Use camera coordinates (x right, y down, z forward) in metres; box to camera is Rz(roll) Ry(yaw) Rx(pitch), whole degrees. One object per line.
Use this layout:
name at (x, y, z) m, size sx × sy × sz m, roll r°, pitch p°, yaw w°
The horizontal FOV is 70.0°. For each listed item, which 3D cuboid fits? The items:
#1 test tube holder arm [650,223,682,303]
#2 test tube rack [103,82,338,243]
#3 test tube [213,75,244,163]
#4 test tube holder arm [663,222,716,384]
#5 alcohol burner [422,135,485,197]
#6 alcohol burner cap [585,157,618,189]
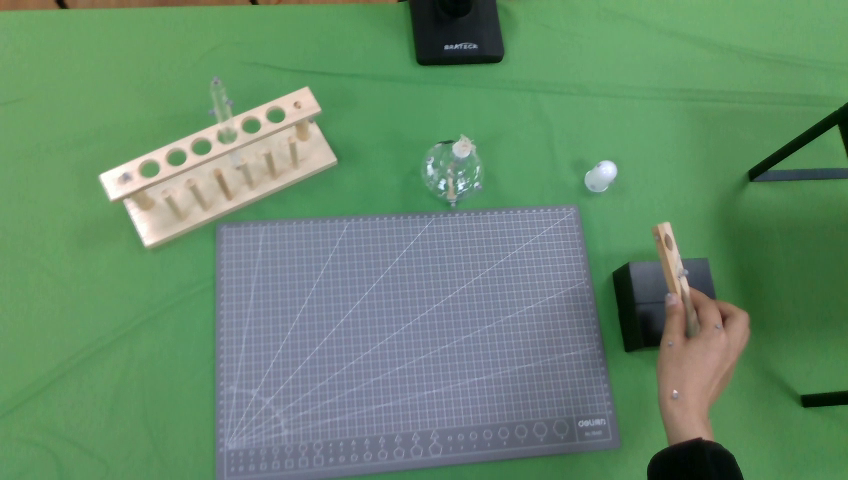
test tube holder arm at (0.265, 0.025, 0.656) m, size 0.010 × 0.015 × 0.087 m, roll -14°, pitch 83°, yaw -7°
test tube rack at (-0.224, -0.089, 0.702) m, size 0.242 × 0.085 × 0.066 m, roll -27°, pitch 77°, yaw -13°
test tube at (-0.212, -0.127, 0.663) m, size 0.017 × 0.151 × 0.017 m, roll 4°, pitch 66°, yaw -8°
test tube holder arm at (0.282, 0.067, 0.652) m, size 0.013 × 0.015 × 0.178 m, roll -15°, pitch 84°, yaw -8°
alcohol burner at (0.038, -0.096, 0.720) m, size 0.078 × 0.119 × 0.077 m, roll 2°, pitch 74°, yaw -7°
alcohol burner cap at (0.230, -0.088, 0.777) m, size 0.034 × 0.048 × 0.033 m, roll 2°, pitch 73°, yaw -5°
